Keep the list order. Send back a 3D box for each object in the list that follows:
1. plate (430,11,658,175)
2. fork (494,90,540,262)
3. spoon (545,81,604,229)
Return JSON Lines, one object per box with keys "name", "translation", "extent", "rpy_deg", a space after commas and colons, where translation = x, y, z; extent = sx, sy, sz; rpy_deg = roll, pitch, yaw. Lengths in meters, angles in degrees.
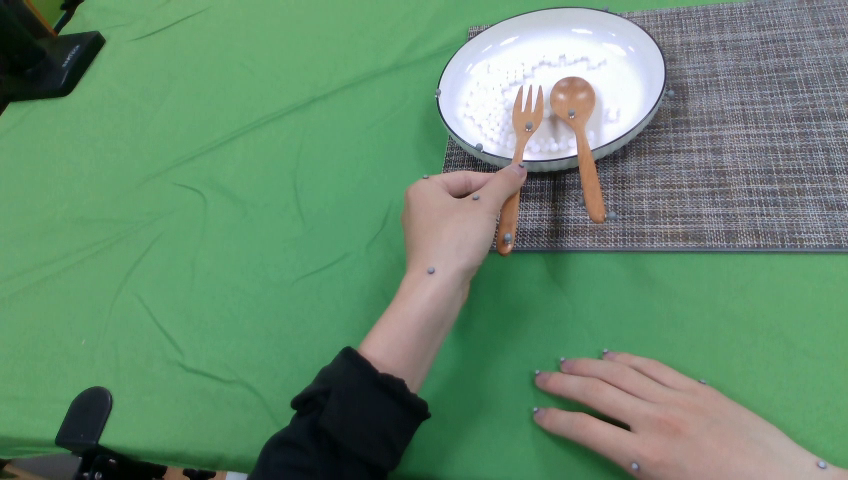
{"name": "plate", "translation": [0.110, -0.137, 0.574], "extent": [0.207, 0.039, 0.205], "rpy_deg": [-7, 53, 10]}
{"name": "fork", "translation": [0.075, -0.061, 0.495], "extent": [0.028, 0.019, 0.205], "rpy_deg": [6, 46, 11]}
{"name": "spoon", "translation": [0.128, -0.078, 0.506], "extent": [0.041, 0.022, 0.192], "rpy_deg": [-9, 40, 13]}
